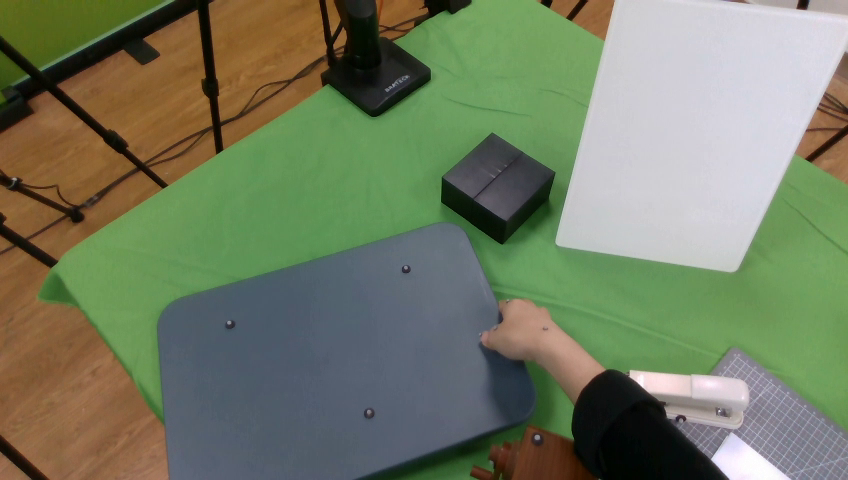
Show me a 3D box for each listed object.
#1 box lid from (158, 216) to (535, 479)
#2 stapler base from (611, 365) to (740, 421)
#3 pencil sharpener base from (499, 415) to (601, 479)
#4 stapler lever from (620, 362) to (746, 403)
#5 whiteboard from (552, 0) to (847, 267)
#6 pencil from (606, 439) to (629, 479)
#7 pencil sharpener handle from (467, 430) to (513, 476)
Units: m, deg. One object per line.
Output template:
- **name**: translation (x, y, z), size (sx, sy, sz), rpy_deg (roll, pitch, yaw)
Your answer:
- **box lid**: translation (-0.095, 0.119, 0.650), size (0.372, 0.015, 0.260), rpy_deg (-17, 57, -8)
- **stapler base**: translation (0.264, 0.157, 0.633), size (0.130, 0.024, 0.041), rpy_deg (8, 55, 8)
- **pencil sharpener base**: translation (0.107, 0.211, 0.550), size (0.076, 0.108, 0.061), rpy_deg (17, 60, 11)
- **stapler lever**: translation (0.262, 0.143, 0.612), size (0.118, 0.040, 0.026), rpy_deg (8, 55, 8)
- **whiteboard**: translation (0.284, -0.143, 0.692), size (0.217, 0.308, 0.143), rpy_deg (9, 39, 6)
- **pencil**: translation (0.213, 0.279, 0.564), size (0.012, 0.012, 0.192), rpy_deg (-14, 57, -9)
- **pencil sharpener handle**: translation (0.058, 0.192, 0.547), size (0.030, 0.068, 0.036), rpy_deg (17, 46, 12)
